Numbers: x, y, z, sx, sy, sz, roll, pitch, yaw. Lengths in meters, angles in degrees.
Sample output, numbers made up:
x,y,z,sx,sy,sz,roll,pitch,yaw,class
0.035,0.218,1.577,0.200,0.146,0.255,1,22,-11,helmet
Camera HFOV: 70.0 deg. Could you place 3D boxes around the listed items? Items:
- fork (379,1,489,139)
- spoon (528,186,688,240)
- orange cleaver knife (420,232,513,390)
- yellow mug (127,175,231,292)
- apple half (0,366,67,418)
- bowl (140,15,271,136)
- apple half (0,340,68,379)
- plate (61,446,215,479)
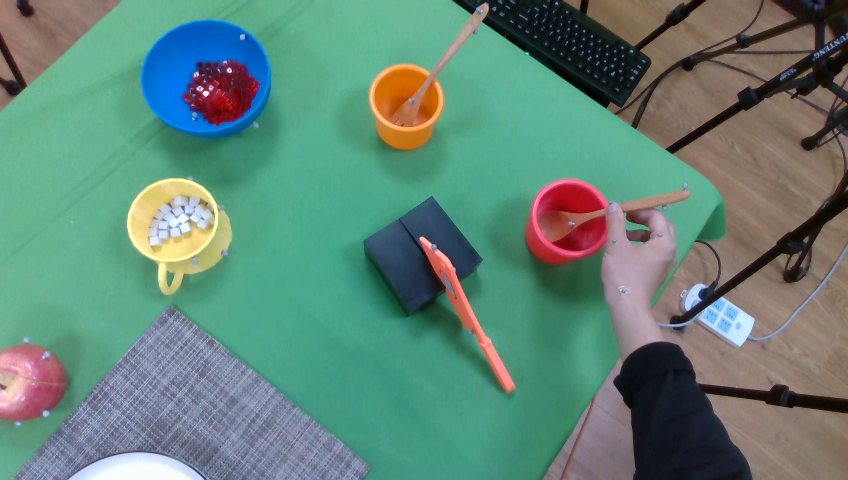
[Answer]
x,y,z,sx,sy,sz,roll,pitch,yaw,class
0.010,-0.205,0.741,0.028,0.018,0.208,46,120,8,fork
0.211,-0.035,0.716,0.022,0.193,0.041,17,66,-47,spoon
0.049,0.083,0.702,0.012,0.076,0.213,-31,112,-10,orange cleaver knife
-0.287,-0.004,0.708,0.100,0.064,0.130,7,76,-3,yellow mug
-0.434,0.162,0.649,0.081,0.075,0.053,19,79,-3,apple half
-0.261,-0.189,0.752,0.151,0.077,0.150,1,76,-4,bowl
-0.423,0.126,0.658,0.081,0.081,0.032,17,78,1,apple half
-0.302,0.322,0.632,0.209,0.038,0.208,1,75,-4,plate
